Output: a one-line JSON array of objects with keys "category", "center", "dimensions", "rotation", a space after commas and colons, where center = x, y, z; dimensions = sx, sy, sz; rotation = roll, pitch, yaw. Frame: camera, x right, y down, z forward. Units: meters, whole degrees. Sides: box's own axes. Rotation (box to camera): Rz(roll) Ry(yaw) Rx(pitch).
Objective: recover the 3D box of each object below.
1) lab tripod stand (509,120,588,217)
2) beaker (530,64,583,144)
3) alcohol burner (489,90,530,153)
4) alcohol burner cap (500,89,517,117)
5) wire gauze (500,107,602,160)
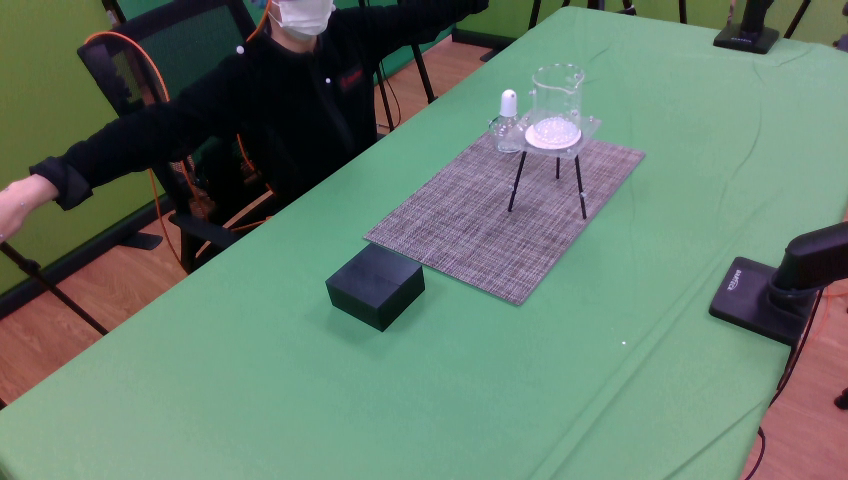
[{"category": "lab tripod stand", "center": [0.208, -0.114, 0.983], "dimensions": [0.148, 0.132, 0.147], "rotation": [-5, 42, 5]}, {"category": "beaker", "center": [0.201, -0.201, 0.909], "dimensions": [0.074, 0.101, 0.083], "rotation": [-19, 43, -10]}, {"category": "alcohol burner", "center": [0.160, -0.226, 1.136], "dimensions": [0.078, 0.119, 0.077], "rotation": [-6, 41, 5]}, {"category": "alcohol burner cap", "center": [0.158, -0.254, 1.114], "dimensions": [0.034, 0.048, 0.033], "rotation": [0, 38, 1]}, {"category": "wire gauze", "center": [0.199, -0.166, 0.945], "dimensions": [0.120, 0.011, 0.125], "rotation": [17, 50, 28]}]
